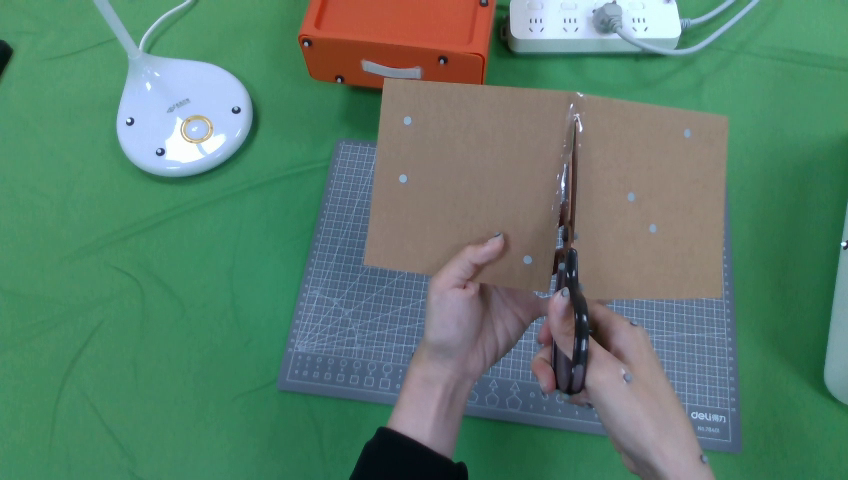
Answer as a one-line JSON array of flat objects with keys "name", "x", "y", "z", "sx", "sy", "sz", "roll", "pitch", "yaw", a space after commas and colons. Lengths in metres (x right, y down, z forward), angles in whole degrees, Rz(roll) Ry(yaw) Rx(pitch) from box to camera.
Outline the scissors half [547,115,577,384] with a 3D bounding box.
[{"name": "scissors half", "x": 0.092, "y": 0.007, "z": 0.396, "sx": 0.013, "sy": 0.040, "sz": 0.175, "roll": 4, "pitch": 95, "yaw": 5}]

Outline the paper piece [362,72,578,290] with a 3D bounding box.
[{"name": "paper piece", "x": 0.027, "y": -0.042, "z": 0.417, "sx": 0.135, "sy": 0.008, "sz": 0.138, "roll": 10, "pitch": 100, "yaw": 15}]

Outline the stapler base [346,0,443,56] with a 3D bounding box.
[{"name": "stapler base", "x": -0.038, "y": -0.263, "z": 0.707, "sx": 0.129, "sy": 0.024, "sz": 0.041, "roll": 36, "pitch": 88, "yaw": 19}]

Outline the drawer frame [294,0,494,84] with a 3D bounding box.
[{"name": "drawer frame", "x": -0.021, "y": -0.283, "z": 0.696, "sx": 0.201, "sy": 0.083, "sz": 0.212, "roll": 7, "pitch": 66, "yaw": 6}]

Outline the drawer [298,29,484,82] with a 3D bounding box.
[{"name": "drawer", "x": -0.020, "y": -0.281, "z": 0.695, "sx": 0.194, "sy": 0.074, "sz": 0.210, "roll": 8, "pitch": 66, "yaw": 6}]

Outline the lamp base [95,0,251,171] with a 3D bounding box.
[{"name": "lamp base", "x": -0.301, "y": -0.191, "z": 0.659, "sx": 0.178, "sy": 0.181, "sz": 0.160, "roll": 38, "pitch": 72, "yaw": 20}]

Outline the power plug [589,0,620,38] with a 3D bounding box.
[{"name": "power plug", "x": 0.215, "y": -0.258, "z": 0.727, "sx": 0.035, "sy": 0.053, "sz": 0.072, "roll": 11, "pitch": 68, "yaw": 7}]

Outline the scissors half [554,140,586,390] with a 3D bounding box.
[{"name": "scissors half", "x": 0.091, "y": 0.003, "z": 0.373, "sx": 0.013, "sy": 0.040, "sz": 0.174, "roll": 5, "pitch": 68, "yaw": 0}]

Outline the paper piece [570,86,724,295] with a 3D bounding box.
[{"name": "paper piece", "x": 0.157, "y": -0.030, "z": 0.419, "sx": 0.136, "sy": 0.004, "sz": 0.135, "roll": 3, "pitch": 90, "yaw": -22}]

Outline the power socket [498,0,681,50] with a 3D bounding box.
[{"name": "power socket", "x": 0.207, "y": -0.276, "z": 0.760, "sx": 0.227, "sy": 0.033, "sz": 0.071, "roll": 1, "pitch": 67, "yaw": 2}]

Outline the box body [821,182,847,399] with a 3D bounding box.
[{"name": "box body", "x": 0.546, "y": 0.006, "z": 0.555, "sx": 0.253, "sy": 0.161, "sz": 0.362, "roll": 19, "pitch": 69, "yaw": 10}]

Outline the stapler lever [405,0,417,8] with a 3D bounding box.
[{"name": "stapler lever", "x": -0.046, "y": -0.269, "z": 0.683, "sx": 0.117, "sy": 0.040, "sz": 0.027, "roll": 36, "pitch": 88, "yaw": 20}]
